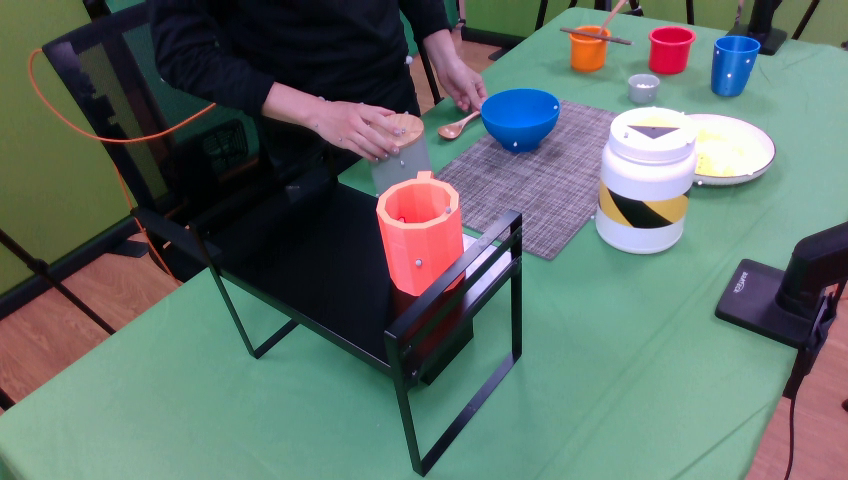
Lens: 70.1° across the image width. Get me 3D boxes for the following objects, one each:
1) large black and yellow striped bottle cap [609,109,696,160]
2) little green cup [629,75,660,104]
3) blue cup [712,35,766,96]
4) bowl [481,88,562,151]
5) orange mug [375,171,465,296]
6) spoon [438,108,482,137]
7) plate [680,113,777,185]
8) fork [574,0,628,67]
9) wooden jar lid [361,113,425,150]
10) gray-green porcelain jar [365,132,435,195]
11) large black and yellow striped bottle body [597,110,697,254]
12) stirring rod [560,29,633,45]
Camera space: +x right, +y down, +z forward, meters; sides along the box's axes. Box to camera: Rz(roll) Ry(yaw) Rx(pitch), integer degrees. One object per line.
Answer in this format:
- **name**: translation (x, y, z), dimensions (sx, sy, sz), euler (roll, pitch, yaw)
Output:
- **large black and yellow striped bottle cap**: translation (0.319, -0.150, 0.849), dimensions (0.115, 0.019, 0.114), euler (-4, 39, 3)
- **little green cup**: translation (0.458, -0.314, 1.260), dimensions (0.061, 0.039, 0.061), euler (-4, 40, 4)
- **blue cup**: translation (0.627, -0.350, 1.227), dimensions (0.092, 0.100, 0.092), euler (-4, 39, 4)
- **bowl**: translation (0.187, -0.223, 1.162), dimensions (0.151, 0.077, 0.150), euler (-4, 40, 4)
- **orange mug**: translation (0.000, -0.016, 0.661), dimensions (0.083, 0.101, 0.125), euler (-2, 45, 8)
- **spoon**: translation (0.104, -0.258, 1.263), dimensions (0.194, 0.022, 0.041), euler (-35, 55, -26)
- **plate**: translation (0.506, -0.158, 1.073), dimensions (0.209, 0.038, 0.208), euler (-5, 40, 4)
- **fork**: translation (0.413, -0.481, 1.377), dimensions (0.207, 0.019, 0.028), euler (-56, 43, 12)
- **wooden jar lid**: translation (-0.051, -0.177, 1.015), dimensions (0.108, 0.021, 0.108), euler (-6, 40, 6)
- **gray-green porcelain jar**: translation (-0.039, -0.130, 1.054), dimensions (0.106, 0.127, 0.105), euler (-8, 39, 7)
- **large black and yellow striped bottle body**: translation (0.331, -0.086, 0.904), dimensions (0.131, 0.185, 0.130), euler (-5, 41, 4)
- **stirring rod**: translation (0.381, -0.452, 1.345), dimensions (0.174, 0.006, 0.014), euler (25, 49, 33)
